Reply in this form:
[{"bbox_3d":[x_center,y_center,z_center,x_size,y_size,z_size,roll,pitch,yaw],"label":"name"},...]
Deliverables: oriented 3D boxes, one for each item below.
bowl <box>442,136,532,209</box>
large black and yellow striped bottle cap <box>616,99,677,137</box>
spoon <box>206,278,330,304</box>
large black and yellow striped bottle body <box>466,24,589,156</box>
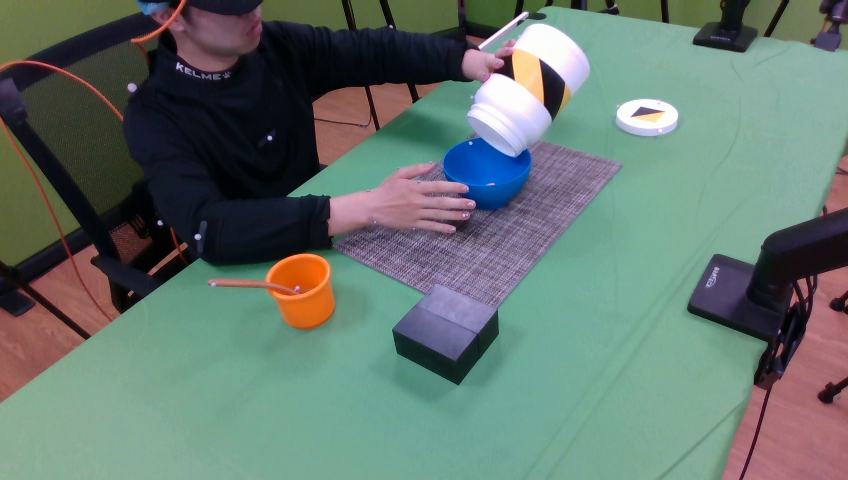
[{"bbox_3d":[0.108,-0.106,1.026,0.151,0.077,0.150,-4,41,4],"label":"bowl"},{"bbox_3d":[0.438,-0.242,1.190,0.115,0.019,0.114,-4,42,4],"label":"large black and yellow striped bottle cap"},{"bbox_3d":[-0.207,0.066,0.824,0.041,0.195,0.021,33,99,41],"label":"spoon"},{"bbox_3d":[0.166,-0.241,0.990,0.129,0.132,0.184,37,88,39],"label":"large black and yellow striped bottle body"}]
